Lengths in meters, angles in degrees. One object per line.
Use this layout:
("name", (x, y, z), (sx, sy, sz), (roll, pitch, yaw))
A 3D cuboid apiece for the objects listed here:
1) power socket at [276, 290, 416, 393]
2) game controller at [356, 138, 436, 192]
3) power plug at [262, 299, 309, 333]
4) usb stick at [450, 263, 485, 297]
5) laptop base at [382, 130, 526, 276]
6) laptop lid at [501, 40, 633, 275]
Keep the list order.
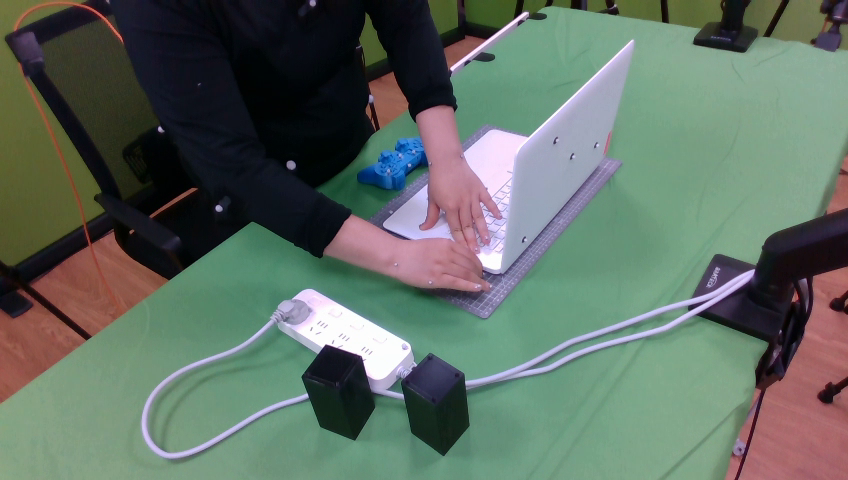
("power socket", (-0.113, 0.133, 0.821), (0.225, 0.033, 0.072), (24, 48, 32))
("game controller", (-0.047, -0.149, 1.136), (0.096, 0.052, 0.155), (27, 51, 28))
("power plug", (-0.192, 0.110, 0.831), (0.073, 0.053, 0.035), (-35, 48, -23))
("usb stick", (0.067, 0.054, 0.893), (0.059, 0.027, 0.021), (-39, 47, -21))
("laptop base", (0.124, -0.080, 1.050), (0.233, 0.023, 0.355), (20, 48, 32))
("laptop lid", (0.218, -0.127, 0.906), (0.013, 0.242, 0.358), (27, 50, 25))
